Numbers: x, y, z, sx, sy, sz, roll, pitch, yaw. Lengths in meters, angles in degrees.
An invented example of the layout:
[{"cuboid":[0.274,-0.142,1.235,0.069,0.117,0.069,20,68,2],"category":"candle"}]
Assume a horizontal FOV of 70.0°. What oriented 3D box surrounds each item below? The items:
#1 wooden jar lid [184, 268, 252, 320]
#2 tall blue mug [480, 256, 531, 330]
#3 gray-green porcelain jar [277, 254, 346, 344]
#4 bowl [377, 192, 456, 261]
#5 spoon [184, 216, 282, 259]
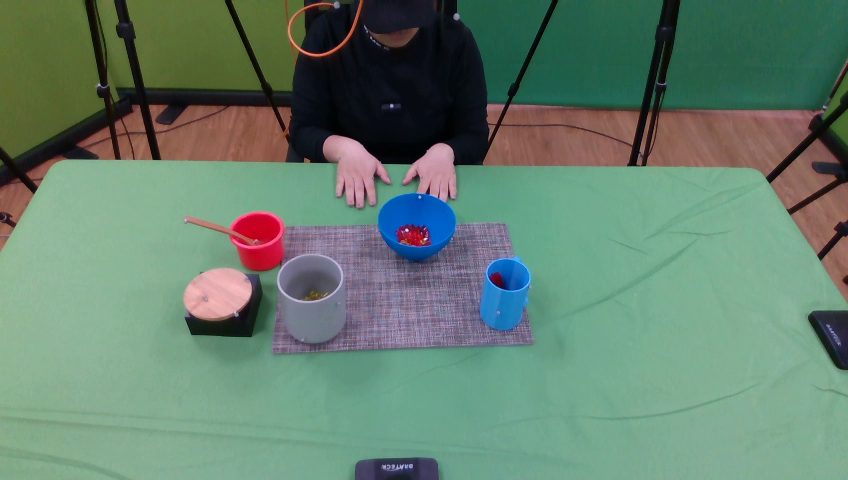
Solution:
[{"cuboid":[-0.343,0.092,1.015,0.108,0.021,0.107,3,46,-3],"category":"wooden jar lid"},{"cuboid":[0.139,0.084,1.061,0.078,0.108,0.106,-2,46,-4],"category":"tall blue mug"},{"cuboid":[-0.185,0.102,1.008,0.106,0.127,0.105,2,46,-2],"category":"gray-green porcelain jar"},{"cuboid":[-0.015,-0.013,1.166,0.151,0.077,0.150,2,46,-2],"category":"bowl"},{"cuboid":[-0.341,-0.008,1.096,0.021,0.195,0.041,-36,47,25],"category":"spoon"}]
